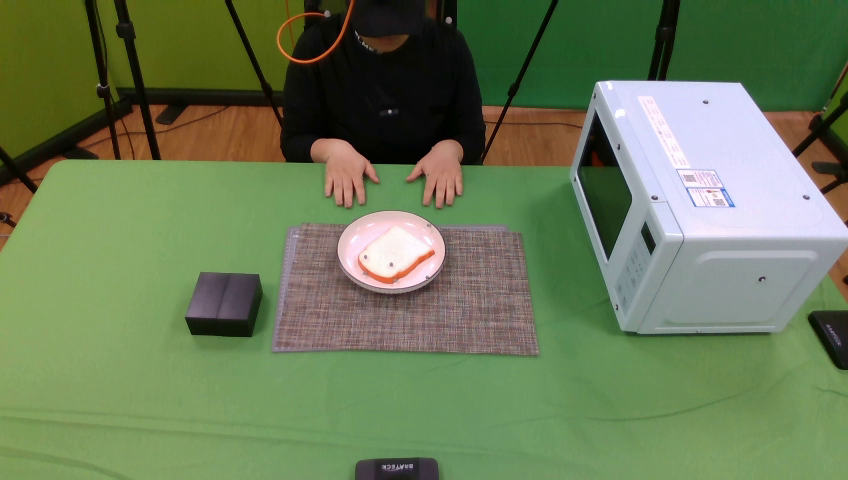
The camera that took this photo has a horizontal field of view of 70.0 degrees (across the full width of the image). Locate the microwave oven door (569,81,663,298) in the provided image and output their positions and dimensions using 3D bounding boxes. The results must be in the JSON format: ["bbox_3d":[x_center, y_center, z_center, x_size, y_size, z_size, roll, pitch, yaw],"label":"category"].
[{"bbox_3d":[0.353,-0.104,1.147,0.039,0.245,0.353,0,46,-4],"label":"microwave oven door"}]

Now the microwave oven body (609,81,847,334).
[{"bbox_3d":[0.501,-0.070,1.132,0.326,0.261,0.438,-1,45,-3],"label":"microwave oven body"}]

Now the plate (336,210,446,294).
[{"bbox_3d":[-0.062,0.026,1.153,0.209,0.038,0.208,3,46,-2],"label":"plate"}]

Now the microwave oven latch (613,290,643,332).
[{"bbox_3d":[0.357,0.124,1.068,0.030,0.029,0.078,0,45,-3],"label":"microwave oven latch"}]

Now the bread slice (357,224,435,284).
[{"bbox_3d":[-0.059,0.028,1.153,0.104,0.019,0.131,34,53,26],"label":"bread slice"}]
